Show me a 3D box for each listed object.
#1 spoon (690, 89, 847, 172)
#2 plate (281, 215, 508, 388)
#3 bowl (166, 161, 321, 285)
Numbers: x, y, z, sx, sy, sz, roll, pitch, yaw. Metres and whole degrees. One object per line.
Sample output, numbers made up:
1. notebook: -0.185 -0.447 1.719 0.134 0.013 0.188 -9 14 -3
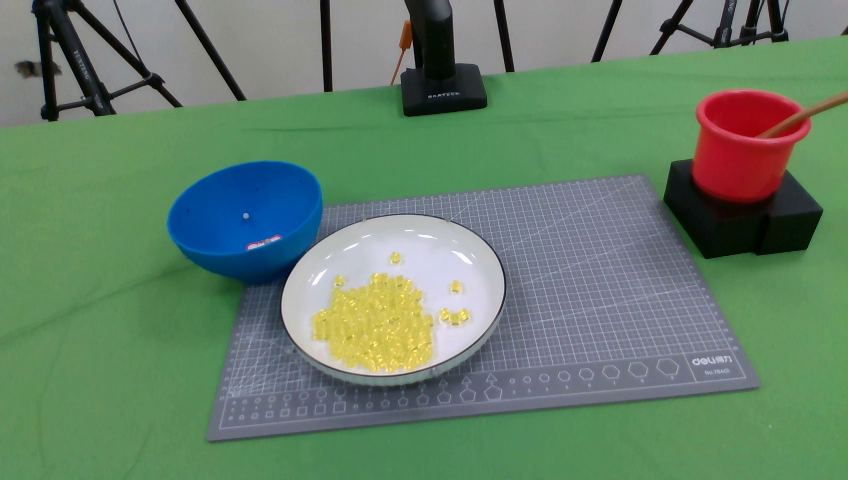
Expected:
1. spoon: 0.336 -0.107 0.549 0.193 0.022 0.041 -32 16 44
2. plate: -0.026 0.055 0.565 0.207 0.039 0.205 -3 41 3
3. bowl: -0.174 -0.007 0.622 0.151 0.077 0.150 -3 42 3
